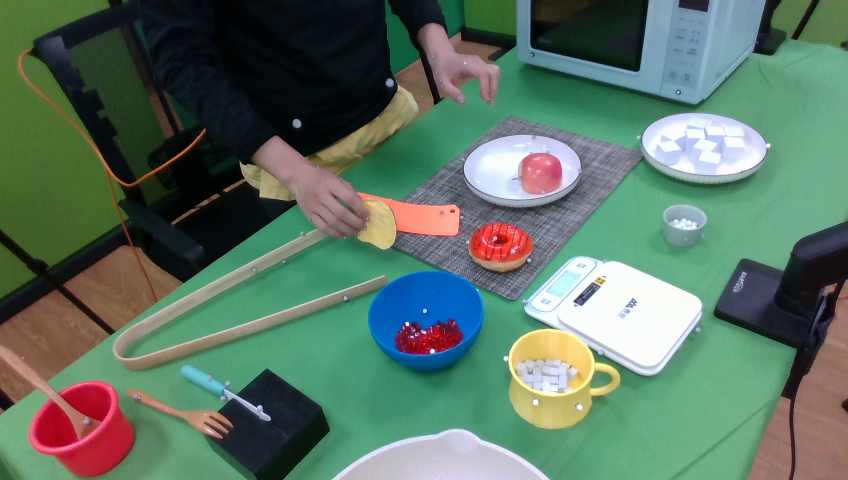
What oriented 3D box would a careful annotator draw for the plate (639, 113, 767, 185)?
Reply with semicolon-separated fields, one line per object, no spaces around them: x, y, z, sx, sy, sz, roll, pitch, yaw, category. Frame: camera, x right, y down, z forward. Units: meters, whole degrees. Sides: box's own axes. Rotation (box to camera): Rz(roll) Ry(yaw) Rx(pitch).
0.489;-0.157;1.074;0.207;0.039;0.206;-4;40;4;plate

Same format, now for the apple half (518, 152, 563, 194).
0.203;-0.124;1.047;0.074;0.053;0.080;-1;41;3;apple half

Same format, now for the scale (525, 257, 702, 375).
0.254;0.091;0.821;0.199;0.032;0.149;28;51;35;scale

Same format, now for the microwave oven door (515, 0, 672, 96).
0.343;-0.454;1.259;0.353;0.245;0.039;26;51;33;microwave oven door

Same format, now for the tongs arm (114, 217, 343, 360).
-0.280;0.068;0.927;0.386;0.026;0.050;-29;49;-23;tongs arm

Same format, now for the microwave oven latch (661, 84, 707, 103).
0.517;-0.296;1.204;0.078;0.029;0.030;27;52;35;microwave oven latch

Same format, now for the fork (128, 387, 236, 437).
-0.305;0.207;0.744;0.206;0.019;0.028;3;41;36;fork

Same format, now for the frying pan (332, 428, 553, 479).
-0.089;0.306;0.564;0.487;0.103;0.306;10;41;7;frying pan

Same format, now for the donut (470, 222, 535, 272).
0.119;0.009;0.923;0.099;0.048;0.098;-4;38;3;donut

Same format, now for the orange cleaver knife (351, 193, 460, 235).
-0.036;-0.045;1.029;0.210;0.012;0.077;10;48;18;orange cleaver knife

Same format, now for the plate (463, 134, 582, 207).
0.173;-0.119;1.070;0.209;0.038;0.208;-4;40;4;plate

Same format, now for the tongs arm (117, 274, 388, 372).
-0.236;0.117;0.869;0.389;0.028;0.028;-18;49;-12;tongs arm

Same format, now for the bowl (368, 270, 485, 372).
0.007;0.118;0.791;0.151;0.077;0.150;-4;40;4;bowl

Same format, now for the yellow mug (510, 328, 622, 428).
0.168;0.164;0.722;0.130;0.064;0.099;0;40;8;yellow mug

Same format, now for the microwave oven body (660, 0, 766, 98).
0.472;-0.513;1.317;0.438;0.261;0.327;26;51;34;microwave oven body

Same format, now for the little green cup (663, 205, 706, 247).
0.396;-0.020;0.926;0.061;0.039;0.061;-4;40;4;little green cup

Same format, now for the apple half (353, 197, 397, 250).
-0.065;-0.027;0.902;0.081;0.081;0.033;17;20;26;apple half

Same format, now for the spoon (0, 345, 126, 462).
-0.434;0.192;0.720;0.194;0.021;0.042;47;53;-7;spoon

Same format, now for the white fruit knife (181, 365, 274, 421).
-0.245;0.187;0.747;0.205;0.027;0.016;9;41;40;white fruit knife
